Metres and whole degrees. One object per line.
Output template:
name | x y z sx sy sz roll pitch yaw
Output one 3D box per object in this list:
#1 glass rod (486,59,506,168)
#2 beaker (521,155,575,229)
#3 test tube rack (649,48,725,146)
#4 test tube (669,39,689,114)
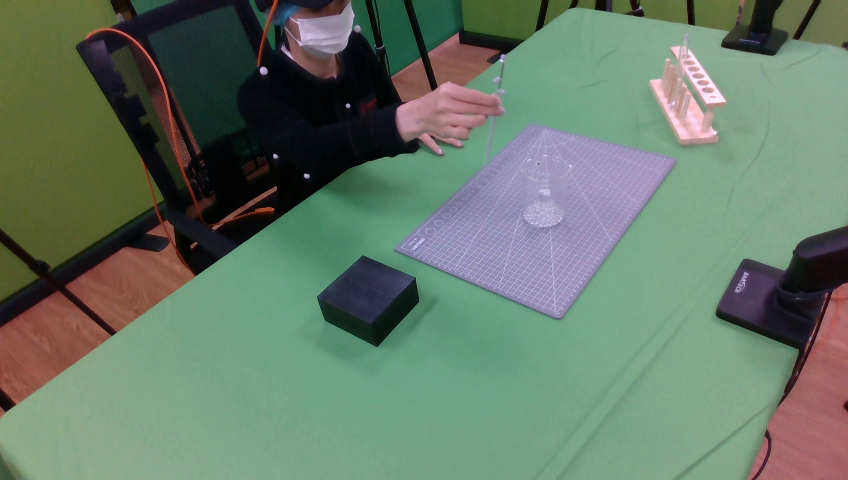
glass rod | 0.100 -0.171 0.853 0.008 0.200 0.008 1 53 0
beaker | 0.197 -0.075 0.969 0.084 0.101 0.073 -6 40 2
test tube rack | 0.508 -0.285 1.186 0.067 0.085 0.241 -4 40 6
test tube | 0.482 -0.308 1.146 0.017 0.151 0.017 -5 42 5
